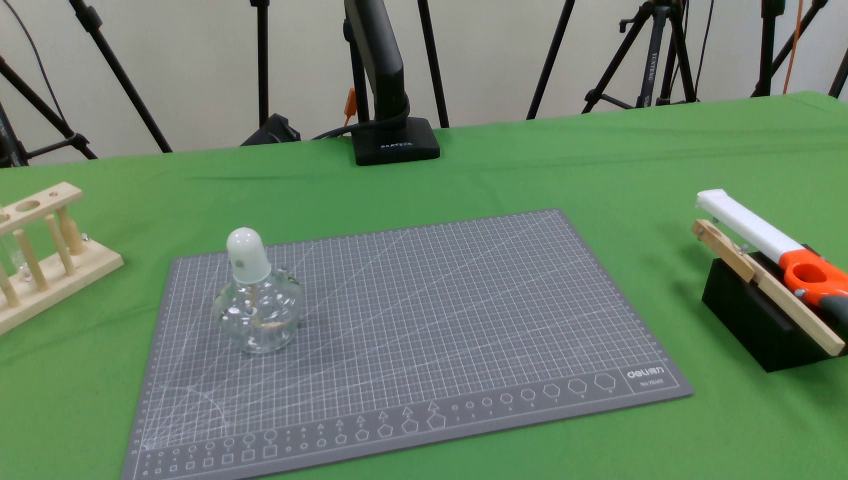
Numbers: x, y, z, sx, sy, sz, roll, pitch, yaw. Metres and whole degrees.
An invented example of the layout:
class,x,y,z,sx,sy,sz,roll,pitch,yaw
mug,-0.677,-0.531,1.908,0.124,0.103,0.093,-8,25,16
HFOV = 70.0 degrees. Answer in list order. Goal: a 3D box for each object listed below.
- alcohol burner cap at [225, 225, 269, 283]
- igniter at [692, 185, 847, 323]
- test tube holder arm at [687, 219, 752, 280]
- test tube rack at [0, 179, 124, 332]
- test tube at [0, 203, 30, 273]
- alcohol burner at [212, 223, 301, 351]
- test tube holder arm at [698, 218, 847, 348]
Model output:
class,x,y,z,sx,sy,sz,roll,pitch,yaw
alcohol burner cap,-0.151,0.009,0.511,0.034,0.048,0.033,-1,40,2
igniter,0.334,0.019,0.543,0.057,0.025,0.273,-9,33,-10
test tube holder arm,0.277,0.007,0.566,0.010,0.015,0.087,-9,35,-14
test tube rack,-0.423,0.038,0.570,0.066,0.086,0.242,21,41,28
test tube,-0.410,-0.028,0.577,0.017,0.151,0.017,0,38,1
alcohol burner,-0.149,0.038,0.532,0.078,0.120,0.077,-1,33,1
test tube holder arm,0.296,0.031,0.532,0.013,0.015,0.176,-10,35,-15
